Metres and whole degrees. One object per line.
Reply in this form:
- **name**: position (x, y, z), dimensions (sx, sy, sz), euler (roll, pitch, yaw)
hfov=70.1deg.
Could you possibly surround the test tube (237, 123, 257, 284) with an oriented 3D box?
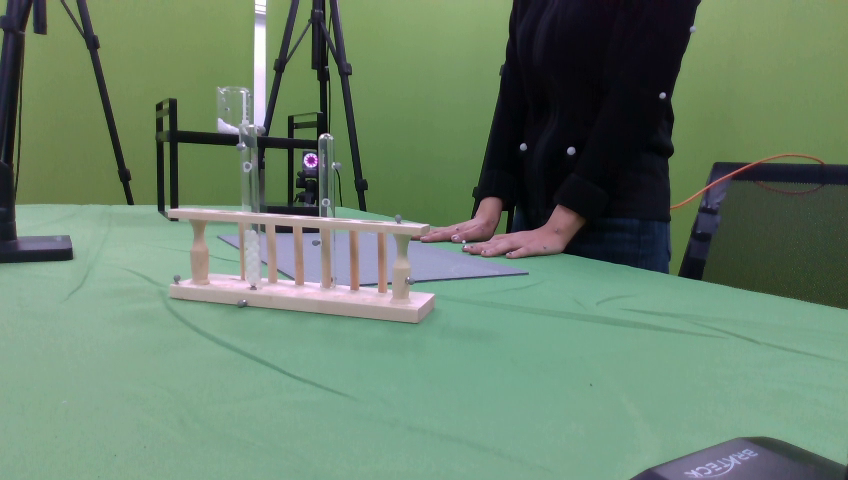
- **test tube**: position (-0.163, -0.032, 0.560), dimensions (0.017, 0.150, 0.017), euler (3, 13, 0)

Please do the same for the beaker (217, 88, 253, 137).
- **beaker**: position (-0.412, -0.276, 1.310), dimensions (0.074, 0.100, 0.084), euler (4, 8, 16)

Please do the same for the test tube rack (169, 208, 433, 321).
- **test tube rack**: position (-0.115, 0.018, 0.574), dimensions (0.242, 0.085, 0.067), euler (4, 8, 13)

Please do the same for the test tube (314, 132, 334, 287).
- **test tube**: position (-0.096, -0.028, 0.583), dimensions (0.017, 0.150, 0.017), euler (0, 9, 0)
